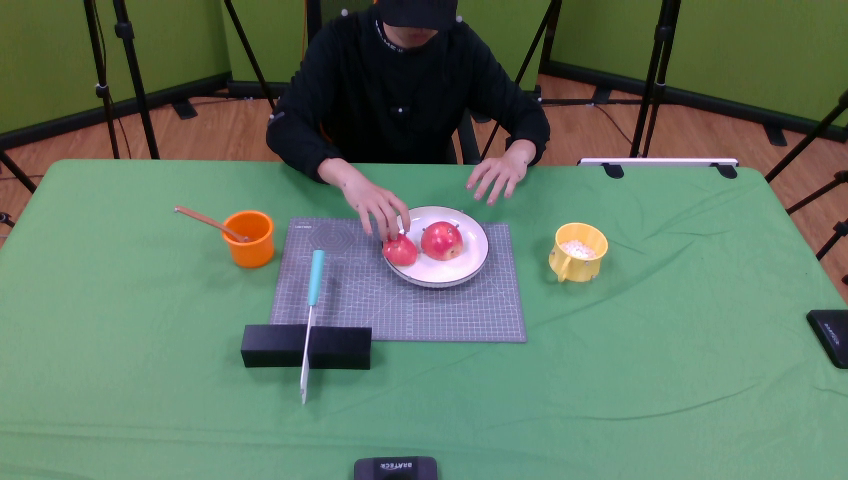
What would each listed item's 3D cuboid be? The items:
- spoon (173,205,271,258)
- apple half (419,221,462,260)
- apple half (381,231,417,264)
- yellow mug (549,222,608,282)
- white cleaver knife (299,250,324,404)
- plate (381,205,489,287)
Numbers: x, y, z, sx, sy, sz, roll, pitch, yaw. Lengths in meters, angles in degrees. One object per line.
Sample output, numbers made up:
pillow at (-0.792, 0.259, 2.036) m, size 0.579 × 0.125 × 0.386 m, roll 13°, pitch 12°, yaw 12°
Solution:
spoon at (-0.362, -0.017, 1.098) m, size 0.021 × 0.195 × 0.041 m, roll -32°, pitch 42°, yaw 27°
apple half at (0.035, -0.005, 1.168) m, size 0.081 × 0.053 × 0.074 m, roll -17°, pitch 50°, yaw -23°
apple half at (-0.043, 0.008, 1.146) m, size 0.081 × 0.033 × 0.081 m, roll 19°, pitch 40°, yaw -17°
yellow mug at (0.287, 0.031, 1.159) m, size 0.099 × 0.064 × 0.130 m, roll 27°, pitch 51°, yaw 21°
white cleaver knife at (-0.194, 0.134, 1.019) m, size 0.021 × 0.066 × 0.284 m, roll 4°, pitch 50°, yaw -5°
plate at (0.021, 0.015, 1.170) m, size 0.209 × 0.038 × 0.208 m, roll 2°, pitch 46°, yaw -2°
